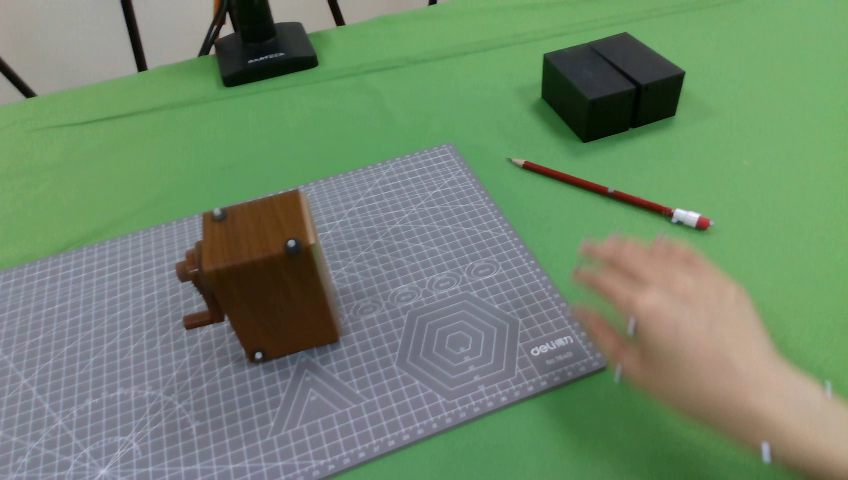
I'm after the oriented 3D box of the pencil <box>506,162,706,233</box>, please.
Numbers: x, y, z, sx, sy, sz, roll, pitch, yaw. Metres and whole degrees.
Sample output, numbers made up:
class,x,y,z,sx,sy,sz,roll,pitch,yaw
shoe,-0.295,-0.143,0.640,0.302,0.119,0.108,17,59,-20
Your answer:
class,x,y,z,sx,sy,sz,roll,pitch,yaw
pencil,0.158,-0.043,0.553,0.192,0.012,0.012,24,52,29

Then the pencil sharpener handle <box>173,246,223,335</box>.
class,x,y,z,sx,sy,sz,roll,pitch,yaw
pencil sharpener handle,-0.160,0.038,0.414,0.031,0.068,0.035,-15,38,-8

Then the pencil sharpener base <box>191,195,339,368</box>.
class,x,y,z,sx,sy,sz,roll,pitch,yaw
pencil sharpener base,-0.110,0.033,0.431,0.077,0.108,0.060,-15,45,-8
